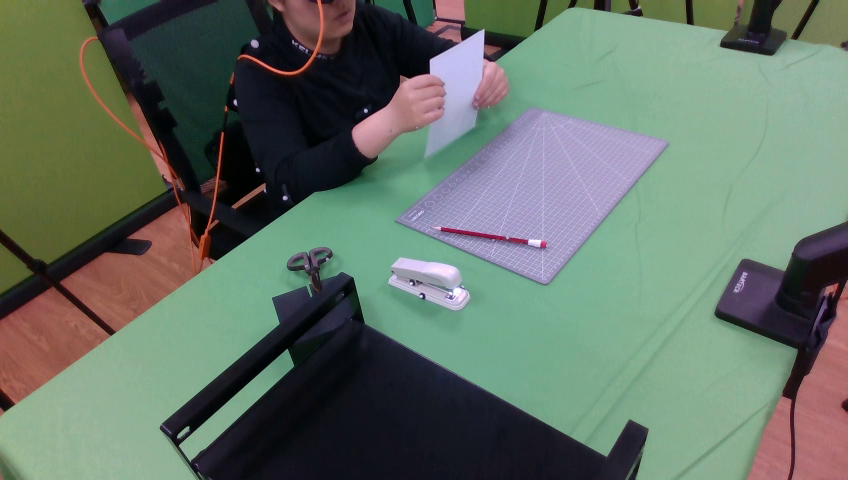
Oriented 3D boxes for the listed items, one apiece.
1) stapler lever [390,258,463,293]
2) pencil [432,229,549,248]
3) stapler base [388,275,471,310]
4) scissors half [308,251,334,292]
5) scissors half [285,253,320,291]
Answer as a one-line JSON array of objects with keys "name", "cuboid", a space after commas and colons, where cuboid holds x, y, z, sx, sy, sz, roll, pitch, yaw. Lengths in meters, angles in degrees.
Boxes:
[{"name": "stapler lever", "cuboid": [0.003, 0.046, 0.881, 0.117, 0.040, 0.027, 17, 44, 29]}, {"name": "pencil", "cuboid": [0.103, -0.004, 0.970, 0.193, 0.012, 0.012, 8, 42, 18]}, {"name": "stapler base", "cuboid": [0.007, 0.066, 0.897, 0.129, 0.024, 0.041, 17, 44, 29]}, {"name": "scissors half", "cuboid": [-0.159, 0.046, 0.913, 0.040, 0.013, 0.174, -6, 18, -4]}, {"name": "scissors half", "cuboid": [-0.178, 0.049, 0.909, 0.040, 0.013, 0.174, -17, 20, -20]}]
